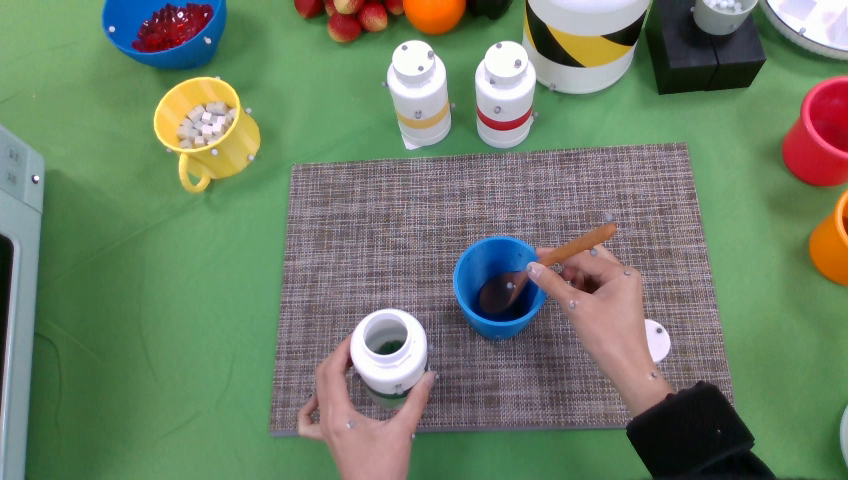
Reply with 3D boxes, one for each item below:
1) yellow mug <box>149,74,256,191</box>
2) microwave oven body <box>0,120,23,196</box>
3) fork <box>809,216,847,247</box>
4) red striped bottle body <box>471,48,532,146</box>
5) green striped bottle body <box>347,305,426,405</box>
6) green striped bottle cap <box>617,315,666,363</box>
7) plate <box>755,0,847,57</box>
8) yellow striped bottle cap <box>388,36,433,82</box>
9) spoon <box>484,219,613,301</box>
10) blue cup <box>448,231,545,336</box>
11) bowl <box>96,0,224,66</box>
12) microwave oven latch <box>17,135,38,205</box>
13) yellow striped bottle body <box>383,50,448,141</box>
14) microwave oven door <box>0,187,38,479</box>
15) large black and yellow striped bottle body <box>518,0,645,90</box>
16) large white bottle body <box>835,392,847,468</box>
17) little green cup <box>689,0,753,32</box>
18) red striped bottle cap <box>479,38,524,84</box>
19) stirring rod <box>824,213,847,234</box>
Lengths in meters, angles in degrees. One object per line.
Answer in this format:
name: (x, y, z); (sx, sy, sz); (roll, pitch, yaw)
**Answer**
yellow mug: (-0.258, -0.119, 0.699); (0.100, 0.064, 0.130); (7, 70, 7)
microwave oven body: (-0.590, 0.077, 0.547); (0.326, 0.262, 0.438); (-12, 69, 1)
fork: (0.445, 0.012, 0.536); (0.028, 0.019, 0.205); (-40, 26, -9)
red striped bottle body: (0.085, -0.159, 0.653); (0.063, 0.120, 0.062); (-4, 66, 9)
green striped bottle body: (-0.030, 0.097, 0.518); (0.063, 0.120, 0.062); (-1, 62, 2)
green striped bottle cap: (0.213, 0.097, 0.594); (0.044, 0.020, 0.044); (-2, 65, 5)
plate: (0.489, -0.297, 0.711); (0.209, 0.038, 0.207); (-2, 69, 5)
yellow striped bottle cap: (-0.014, -0.184, 0.616); (0.044, 0.019, 0.044); (-1, 70, 4)
spoon: (0.099, 0.022, 0.538); (0.022, 0.194, 0.041); (15, 64, -18)
blue cup: (0.067, 0.050, 0.579); (0.092, 0.101, 0.092); (-1, 67, 3)
bowl: (-0.314, -0.272, 0.757); (0.151, 0.077, 0.150); (-2, 69, 4)
microwave oven latch: (-0.467, -0.079, 0.698); (0.030, 0.030, 0.078); (-9, 69, 2)
yellow striped bottle body: (-0.008, -0.165, 0.663); (0.063, 0.121, 0.062); (-2, 68, 6)
microwave oven door: (-0.440, 0.085, 0.524); (0.039, 0.245, 0.353); (-12, 68, 2)
large black and yellow striped bottle body: (0.170, -0.265, 0.651); (0.130, 0.185, 0.130); (-2, 69, 5)
large white bottle body: (0.429, 0.151, 0.464); (0.130, 0.186, 0.129); (-2, 68, 5)
little green cup: (0.321, -0.259, 0.658); (0.061, 0.039, 0.061); (-1, 67, 4)
red striped bottle cap: (0.078, -0.179, 0.604); (0.044, 0.018, 0.044); (0, 67, 1)
stirring rod: (0.415, 0.012, 0.546); (0.014, 0.006, 0.175); (-1, 26, 3)
